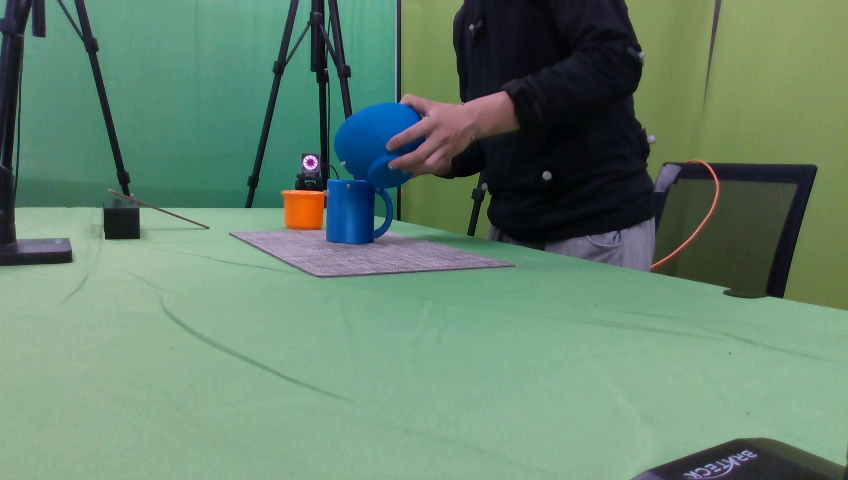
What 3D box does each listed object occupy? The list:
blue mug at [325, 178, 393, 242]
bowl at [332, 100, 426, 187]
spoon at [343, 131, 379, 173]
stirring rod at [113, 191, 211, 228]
[{"bbox_3d":[-0.111,-0.052,1.034,0.116,0.106,0.082,3,7,7],"label":"blue mug"},{"bbox_3d":[-0.060,-0.136,0.941,0.152,0.076,0.151,-16,-28,-8],"label":"bowl"},{"bbox_3d":[-0.112,-0.170,1.113,0.021,0.042,0.193,-23,21,18],"label":"spoon"},{"bbox_3d":[-0.484,-0.055,1.121,0.177,0.006,0.014,22,-6,-22],"label":"stirring rod"}]
